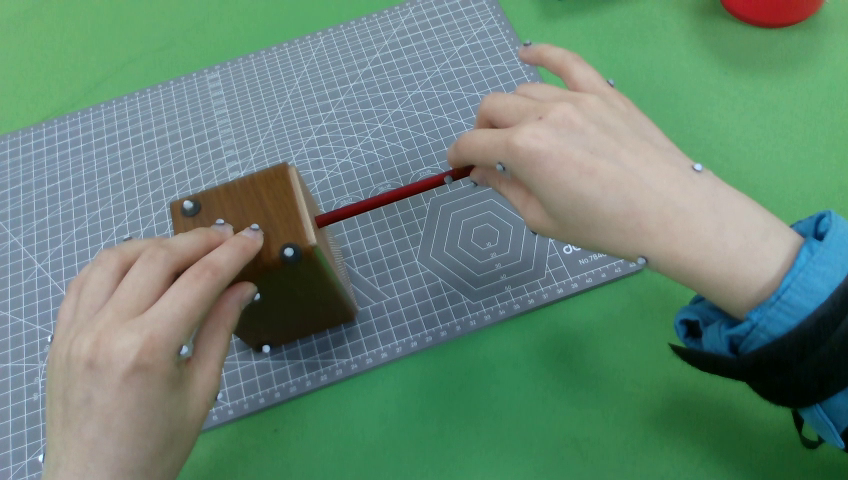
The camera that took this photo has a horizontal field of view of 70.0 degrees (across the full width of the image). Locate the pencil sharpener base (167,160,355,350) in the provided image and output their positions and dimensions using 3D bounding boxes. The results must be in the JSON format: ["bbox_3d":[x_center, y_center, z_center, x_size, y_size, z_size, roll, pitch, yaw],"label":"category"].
[{"bbox_3d":[-0.093,0.015,0.359,0.077,0.108,0.061,-20,62,-3],"label":"pencil sharpener base"}]

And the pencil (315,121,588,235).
[{"bbox_3d":[0.002,-0.030,0.341,0.194,0.012,0.012,-21,62,-4],"label":"pencil"}]

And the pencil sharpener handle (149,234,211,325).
[{"bbox_3d":[-0.142,0.027,0.344,0.030,0.068,0.035,-20,56,-3],"label":"pencil sharpener handle"}]
